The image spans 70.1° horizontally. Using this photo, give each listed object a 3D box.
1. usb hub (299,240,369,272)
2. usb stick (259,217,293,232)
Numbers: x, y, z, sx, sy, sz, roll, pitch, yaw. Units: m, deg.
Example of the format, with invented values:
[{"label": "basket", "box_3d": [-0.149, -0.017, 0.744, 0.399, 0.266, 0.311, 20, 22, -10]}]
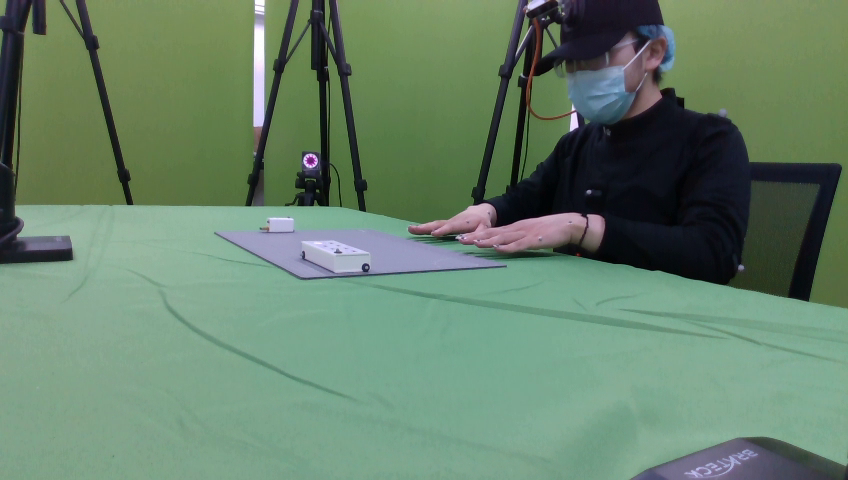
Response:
[{"label": "usb hub", "box_3d": [-0.119, 0.019, 0.782, 0.050, 0.025, 0.124, -2, 8, -31]}, {"label": "usb stick", "box_3d": [-0.268, -0.028, 1.094, 0.059, 0.027, 0.021, -5, 12, -32]}]
